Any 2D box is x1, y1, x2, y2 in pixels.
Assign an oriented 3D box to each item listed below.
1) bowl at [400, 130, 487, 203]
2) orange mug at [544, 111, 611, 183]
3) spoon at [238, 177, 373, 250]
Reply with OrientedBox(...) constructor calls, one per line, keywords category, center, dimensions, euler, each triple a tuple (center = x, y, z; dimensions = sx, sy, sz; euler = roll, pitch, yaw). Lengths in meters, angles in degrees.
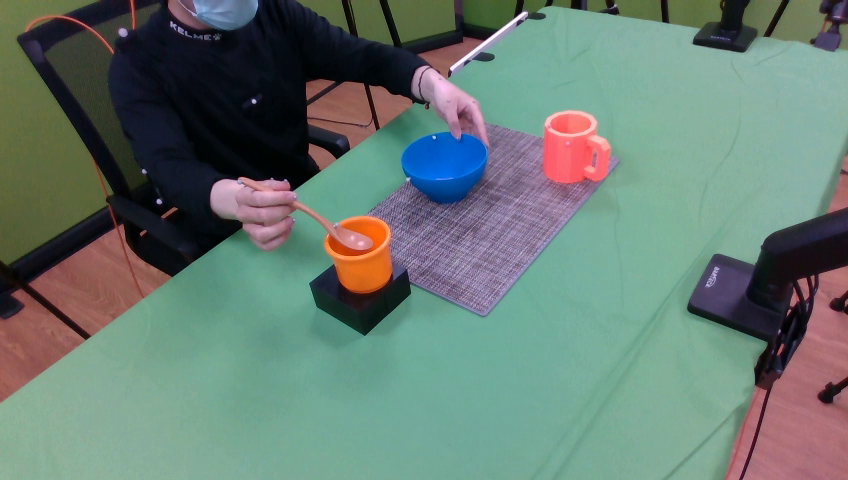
OrientedBox(category="bowl", center=(0.037, -0.118, 1.051), dimensions=(0.151, 0.077, 0.150), euler=(-4, 41, 4))
OrientedBox(category="orange mug", center=(0.266, -0.157, 1.049), dimensions=(0.084, 0.101, 0.125), euler=(-32, 42, -26))
OrientedBox(category="spoon", center=(-0.154, -0.036, 0.800), dimensions=(0.195, 0.021, 0.041), euler=(32, 25, -18))
